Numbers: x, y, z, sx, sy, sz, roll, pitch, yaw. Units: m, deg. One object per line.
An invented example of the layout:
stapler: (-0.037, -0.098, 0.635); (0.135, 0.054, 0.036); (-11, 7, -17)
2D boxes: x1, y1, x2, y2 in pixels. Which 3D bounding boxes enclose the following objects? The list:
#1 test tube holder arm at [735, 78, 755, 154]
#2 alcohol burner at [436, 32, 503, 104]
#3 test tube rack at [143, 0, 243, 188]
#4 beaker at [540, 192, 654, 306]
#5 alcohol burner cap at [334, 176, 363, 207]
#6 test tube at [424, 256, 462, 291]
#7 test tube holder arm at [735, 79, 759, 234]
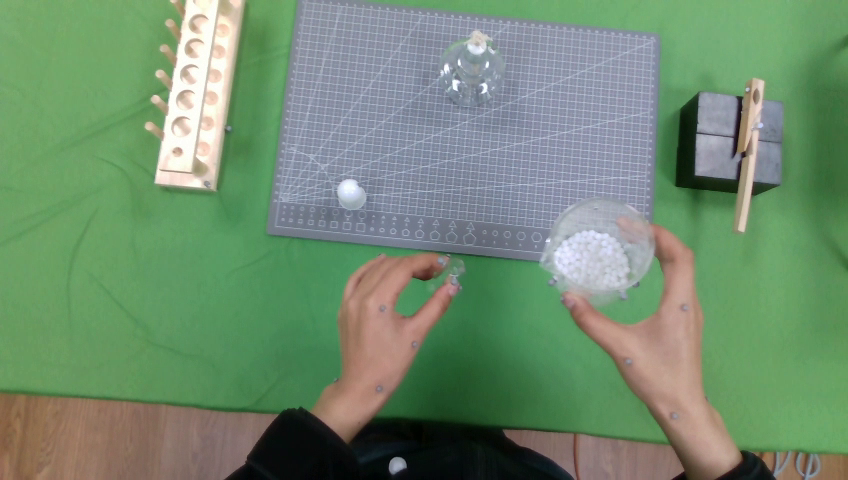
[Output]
test tube holder arm: (0.364, -0.140, 0.688); (0.010, 0.015, 0.087); (8, 83, 1)
alcohol burner: (0.052, -0.200, 0.680); (0.078, 0.119, 0.077); (0, 82, 0)
test tube rack: (-0.264, -0.189, 0.682); (0.067, 0.085, 0.241); (6, 82, -1)
beaker: (0.133, 0.014, 0.490); (0.084, 0.101, 0.073); (-19, 74, 5)
alcohol burner cap: (-0.087, -0.058, 0.689); (0.034, 0.048, 0.033); (0, 82, -3)
test tube: (0.015, 0.033, 0.557); (0.017, 0.150, 0.017); (1, 80, -6)
test tube holder arm: (0.364, -0.095, 0.682); (0.013, 0.015, 0.178); (7, 83, 0)
